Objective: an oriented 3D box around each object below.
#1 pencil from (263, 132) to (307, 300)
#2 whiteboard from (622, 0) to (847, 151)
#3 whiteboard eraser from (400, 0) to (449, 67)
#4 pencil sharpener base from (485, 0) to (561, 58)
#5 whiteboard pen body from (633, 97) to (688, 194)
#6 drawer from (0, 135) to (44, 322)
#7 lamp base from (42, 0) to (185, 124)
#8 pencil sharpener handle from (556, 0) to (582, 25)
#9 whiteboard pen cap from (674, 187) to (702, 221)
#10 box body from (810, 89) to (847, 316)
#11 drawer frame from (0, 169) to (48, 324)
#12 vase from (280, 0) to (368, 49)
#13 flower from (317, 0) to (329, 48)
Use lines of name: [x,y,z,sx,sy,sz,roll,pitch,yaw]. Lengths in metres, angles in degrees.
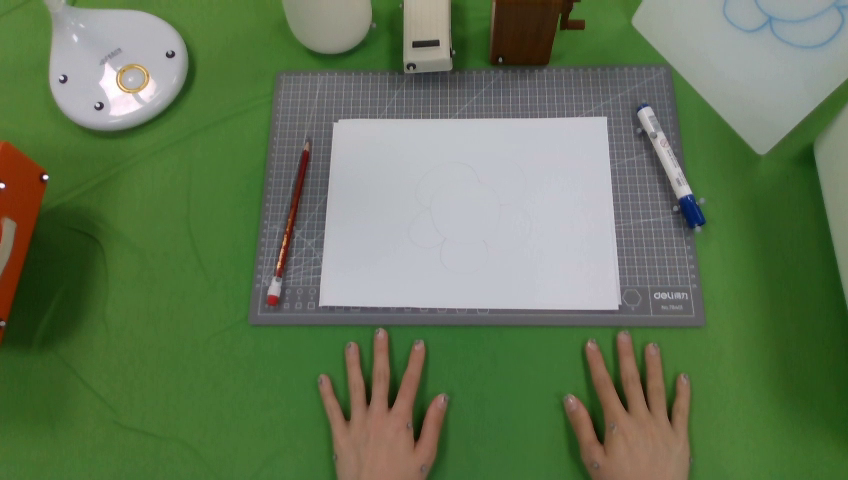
pencil: [-0.144,-0.030,0.640,0.012,0.012,0.193,6,70,6]
whiteboard: [0.380,-0.277,0.578,0.144,0.307,0.215,-25,69,-26]
whiteboard eraser: [0.000,-0.249,0.694,0.055,0.042,0.112,-1,70,1]
pencil sharpener base: [0.106,-0.252,0.655,0.076,0.108,0.061,2,70,4]
whiteboard pen body: [0.251,-0.089,0.634,0.017,0.017,0.139,-16,71,-2]
drawer: [-0.495,-0.001,0.564,0.211,0.074,0.193,2,72,4]
lamp base: [-0.373,-0.238,0.635,0.178,0.181,0.160,32,75,16]
pencil sharpener handle: [0.157,-0.254,0.640,0.030,0.068,0.035,2,69,4]
whiteboard pen cap: [0.266,-0.037,0.612,0.018,0.018,0.033,-16,70,-2]
box body: [0.516,0.013,0.514,0.254,0.161,0.361,-1,71,3]
drawer frame: [-0.501,0.001,0.566,0.213,0.083,0.200,3,72,2]
vase: [-0.118,-0.293,0.632,0.098,0.201,0.097,-1,70,4]
flower: [-0.116,-0.338,0.560,0.038,0.365,0.043,-13,52,-9]
